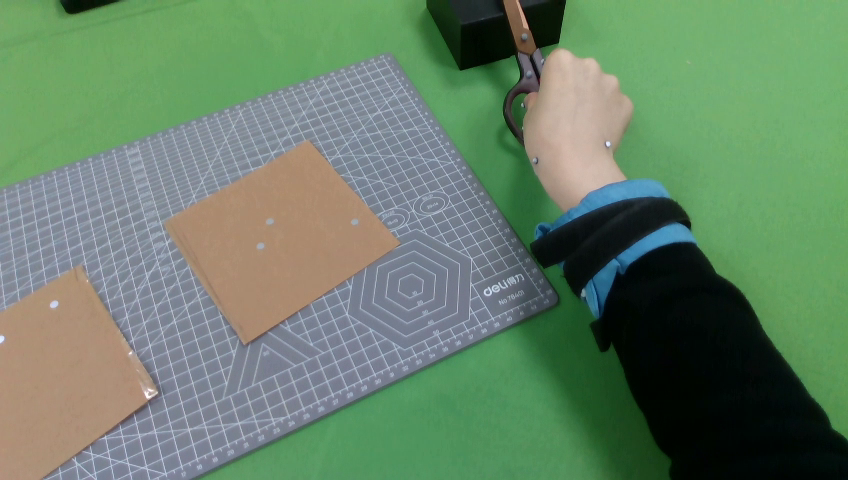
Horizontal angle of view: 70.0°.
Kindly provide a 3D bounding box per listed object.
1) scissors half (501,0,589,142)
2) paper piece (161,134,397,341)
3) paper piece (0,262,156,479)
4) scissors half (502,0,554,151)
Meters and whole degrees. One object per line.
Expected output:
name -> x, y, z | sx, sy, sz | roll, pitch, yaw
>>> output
scissors half -> 0.097, -0.164, 0.520 | 0.040, 0.013, 0.174 | -24, 83, -10
paper piece -> -0.112, -0.009, 0.465 | 0.136, 0.004, 0.134 | -33, 63, -17
paper piece -> -0.269, 0.093, 0.406 | 0.138, 0.009, 0.134 | -36, 59, -17
scissors half -> 0.078, -0.159, 0.516 | 0.040, 0.013, 0.174 | -6, 79, -12
